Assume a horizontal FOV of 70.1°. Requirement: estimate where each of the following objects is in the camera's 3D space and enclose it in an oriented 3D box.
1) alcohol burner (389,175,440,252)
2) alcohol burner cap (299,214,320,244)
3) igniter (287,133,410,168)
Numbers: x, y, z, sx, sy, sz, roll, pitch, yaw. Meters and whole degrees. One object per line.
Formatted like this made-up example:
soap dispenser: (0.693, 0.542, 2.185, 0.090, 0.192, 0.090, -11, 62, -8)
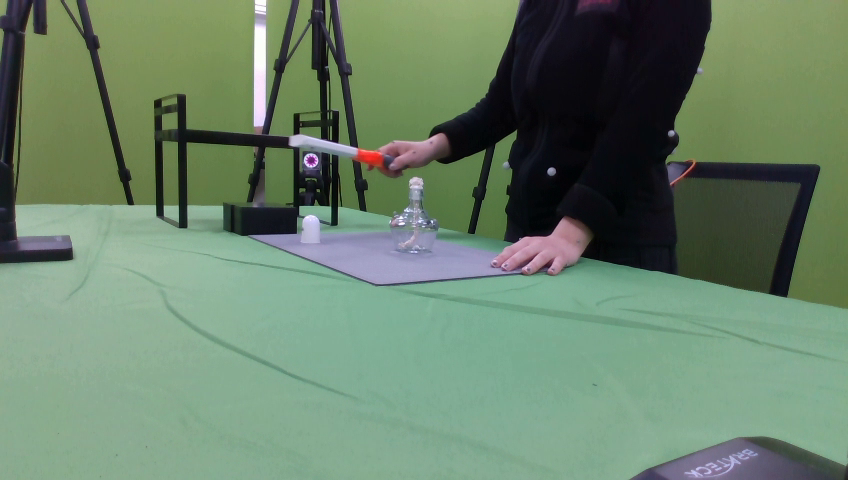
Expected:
alcohol burner: (-0.013, -0.041, 0.929, 0.078, 0.119, 0.078, 4, 8, 0)
alcohol burner cap: (-0.184, -0.018, 0.979, 0.034, 0.048, 0.034, 3, 8, 0)
igniter: (-0.129, -0.161, 1.110, 0.057, 0.025, 0.278, 0, -3, 40)
